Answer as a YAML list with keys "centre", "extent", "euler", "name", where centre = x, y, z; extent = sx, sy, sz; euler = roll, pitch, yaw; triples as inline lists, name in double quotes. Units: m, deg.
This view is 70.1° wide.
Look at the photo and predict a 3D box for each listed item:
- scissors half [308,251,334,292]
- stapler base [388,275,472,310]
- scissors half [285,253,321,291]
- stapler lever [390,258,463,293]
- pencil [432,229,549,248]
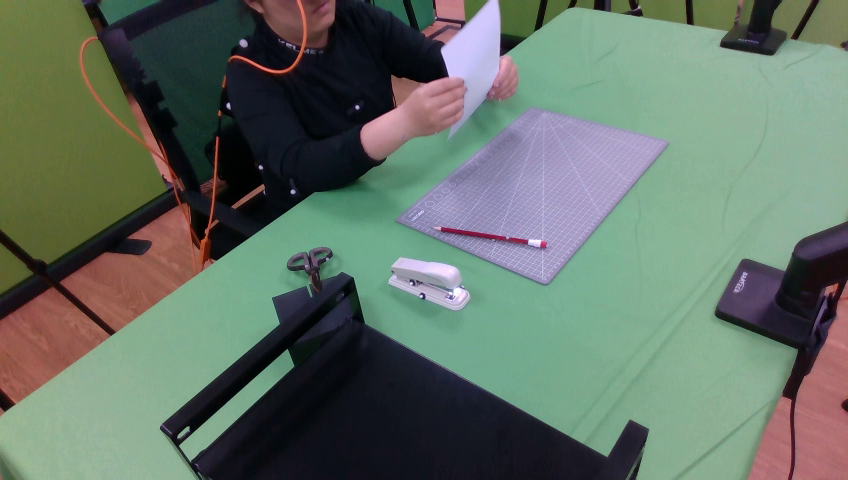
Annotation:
- centre: [-0.159, 0.046, 0.913]
  extent: [0.040, 0.013, 0.174]
  euler: [-6, 18, -4]
  name: "scissors half"
- centre: [0.008, 0.066, 0.896]
  extent: [0.129, 0.024, 0.041]
  euler: [17, 44, 29]
  name: "stapler base"
- centre: [-0.178, 0.049, 0.909]
  extent: [0.040, 0.013, 0.174]
  euler: [-17, 20, -20]
  name: "scissors half"
- centre: [0.003, 0.046, 0.881]
  extent: [0.117, 0.040, 0.027]
  euler: [17, 44, 29]
  name: "stapler lever"
- centre: [0.104, -0.005, 0.970]
  extent: [0.193, 0.012, 0.012]
  euler: [8, 42, 18]
  name: "pencil"
